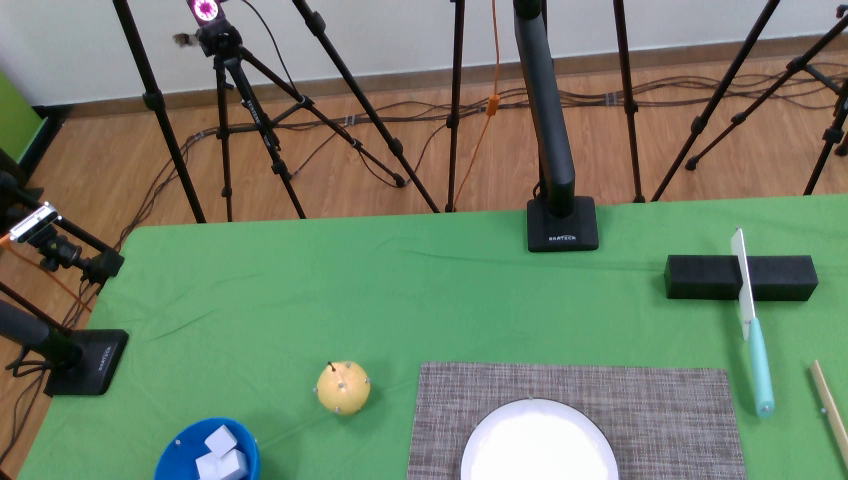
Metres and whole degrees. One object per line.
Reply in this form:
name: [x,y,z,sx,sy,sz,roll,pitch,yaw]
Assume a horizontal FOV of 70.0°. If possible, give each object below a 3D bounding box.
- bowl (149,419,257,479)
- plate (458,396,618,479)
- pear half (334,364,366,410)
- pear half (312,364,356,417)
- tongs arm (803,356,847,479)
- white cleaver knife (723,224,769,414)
bowl: [-0.300,0.341,0.861,0.151,0.077,0.150,-5,52,7]
plate: [0.151,0.314,0.810,0.207,0.039,0.205,-6,52,8]
pear half: [-0.107,0.214,0.912,0.031,0.089,0.069,-22,42,-6]
pear half: [-0.142,0.220,0.901,0.056,0.111,0.075,-23,42,-7]
tongs arm: [0.545,0.320,0.736,0.028,0.028,0.383,-6,52,5]
white cleaver knife: [0.467,0.109,0.884,0.021,0.066,0.284,-2,63,16]
